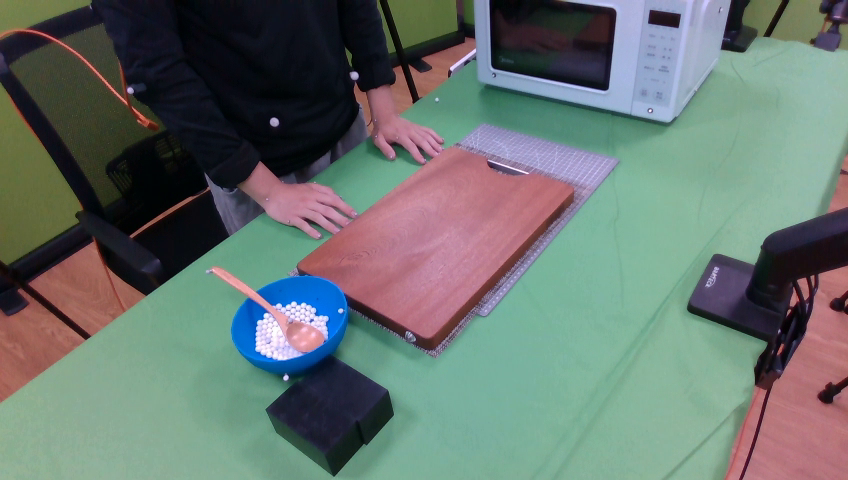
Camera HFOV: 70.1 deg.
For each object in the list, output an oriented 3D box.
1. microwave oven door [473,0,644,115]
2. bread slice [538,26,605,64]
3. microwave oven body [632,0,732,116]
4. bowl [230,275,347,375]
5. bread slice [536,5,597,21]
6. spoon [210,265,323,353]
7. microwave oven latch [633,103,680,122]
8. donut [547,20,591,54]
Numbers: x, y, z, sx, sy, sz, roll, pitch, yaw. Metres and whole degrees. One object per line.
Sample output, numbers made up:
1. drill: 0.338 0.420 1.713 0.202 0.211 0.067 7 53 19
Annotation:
1. microwave oven door: 0.257 -0.396 1.199 0.353 0.245 0.039 21 48 29
2. bread slice: 0.332 -0.436 1.338 0.132 0.019 0.104 -40 44 -22
3. microwave oven body: 0.377 -0.462 1.267 0.438 0.261 0.327 21 48 30
4. bowl: -0.171 0.125 0.802 0.151 0.077 0.150 -4 40 4
5. bread slice: 0.305 -0.481 1.278 0.106 0.018 0.134 11 29 24
6. spoon: -0.213 0.087 0.806 0.193 0.021 0.042 37 56 11
7. microwave oven latch: 0.444 -0.249 1.157 0.078 0.029 0.030 21 48 30
8. donut: 0.311 -0.437 1.299 0.099 0.048 0.098 -21 35 16
